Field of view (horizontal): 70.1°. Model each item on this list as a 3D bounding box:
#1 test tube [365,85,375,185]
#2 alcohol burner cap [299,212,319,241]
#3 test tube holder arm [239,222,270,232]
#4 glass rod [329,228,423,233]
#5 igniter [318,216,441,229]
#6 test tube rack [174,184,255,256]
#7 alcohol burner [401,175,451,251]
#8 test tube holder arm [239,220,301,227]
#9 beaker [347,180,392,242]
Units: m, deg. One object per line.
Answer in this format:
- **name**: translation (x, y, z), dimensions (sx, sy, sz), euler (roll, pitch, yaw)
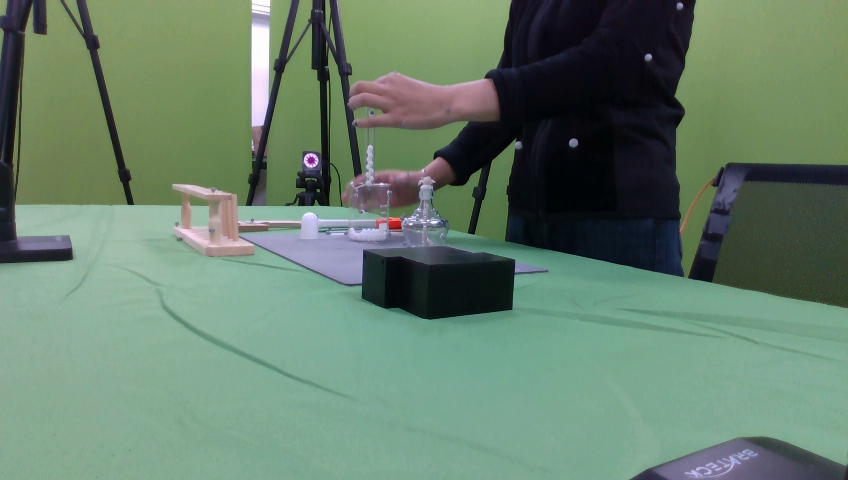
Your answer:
- **test tube**: translation (-0.082, -0.160, 0.921), dimensions (0.017, 0.150, 0.017), euler (1, 9, 0)
- **alcohol burner cap**: translation (-0.195, -0.024, 1.025), dimensions (0.034, 0.048, 0.034), euler (3, 7, 0)
- **test tube holder arm**: translation (-0.321, -0.023, 1.100), dimensions (0.088, 0.015, 0.010), euler (-5, 44, -49)
- **glass rod**: translation (-0.086, -0.018, 1.147), dimensions (0.201, 0.008, 0.008), euler (-2, 8, -32)
- **igniter**: translation (-0.090, -0.035, 1.222), dimensions (0.278, 0.025, 0.057), euler (-2, -2, -32)
- **test tube rack**: translation (-0.327, -0.036, 0.928), dimensions (0.067, 0.085, 0.241), euler (-2, 9, -32)
- **alcohol burner**: translation (0.003, -0.042, 0.947), dimensions (0.078, 0.119, 0.078), euler (1, 9, 0)
- **test tube holder arm**: translation (-0.295, -0.030, 1.137), dimensions (0.179, 0.015, 0.013), euler (-6, 44, -50)
- **beaker**: translation (-0.095, -0.050, 1.027), dimensions (0.074, 0.100, 0.084), euler (6, 8, 25)
